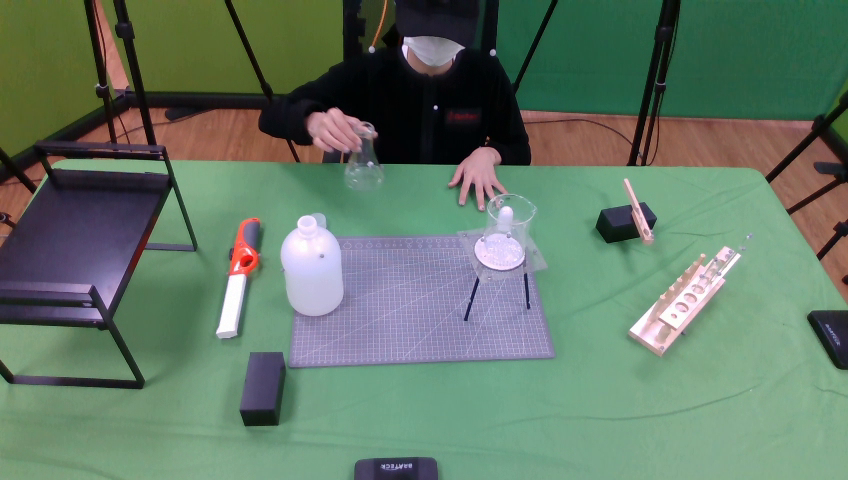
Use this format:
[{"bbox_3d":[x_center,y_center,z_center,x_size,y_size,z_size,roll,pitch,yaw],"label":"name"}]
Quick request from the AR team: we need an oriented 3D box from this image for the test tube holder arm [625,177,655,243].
[{"bbox_3d":[0.433,-0.063,1.220,0.013,0.015,0.177,1,47,-3],"label":"test tube holder arm"}]

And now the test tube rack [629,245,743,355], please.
[{"bbox_3d":[0.474,0.095,1.091,0.242,0.085,0.066,-34,56,-31],"label":"test tube rack"}]

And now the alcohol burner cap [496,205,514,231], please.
[{"bbox_3d":[0.153,-0.044,1.131,0.034,0.048,0.033,2,40,-1],"label":"alcohol burner cap"}]

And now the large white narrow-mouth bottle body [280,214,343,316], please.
[{"bbox_3d":[-0.190,0.035,1.024,0.102,0.195,0.101,2,46,-2],"label":"large white narrow-mouth bottle body"}]

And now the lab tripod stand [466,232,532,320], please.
[{"bbox_3d":[0.125,0.059,1.065,0.148,0.132,0.147,1,45,0],"label":"lab tripod stand"}]

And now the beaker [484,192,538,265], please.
[{"bbox_3d":[0.137,-0.016,0.980,0.084,0.101,0.073,-6,45,-9],"label":"beaker"}]

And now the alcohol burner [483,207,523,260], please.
[{"bbox_3d":[0.152,-0.018,1.156,0.078,0.120,0.077,0,47,0],"label":"alcohol burner"}]

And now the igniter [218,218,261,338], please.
[{"bbox_3d":[-0.336,0.060,1.111,0.057,0.025,0.274,-7,46,4],"label":"igniter"}]

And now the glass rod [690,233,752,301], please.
[{"bbox_3d":[0.507,0.053,1.041,0.008,0.200,0.008,5,50,-6],"label":"glass rod"}]

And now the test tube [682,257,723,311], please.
[{"bbox_3d":[0.475,0.080,1.037,0.017,0.151,0.017,1,51,-1],"label":"test tube"}]

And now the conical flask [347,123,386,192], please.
[{"bbox_3d":[-0.106,-0.154,1.115,0.075,0.122,0.075,3,44,-3],"label":"conical flask"}]

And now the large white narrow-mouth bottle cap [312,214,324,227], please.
[{"bbox_3d":[-0.220,-0.033,1.214,0.038,0.024,0.037,2,46,-2],"label":"large white narrow-mouth bottle cap"}]

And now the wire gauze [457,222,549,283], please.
[{"bbox_3d":[0.131,0.016,1.017,0.121,0.011,0.124,-10,44,-16],"label":"wire gauze"}]

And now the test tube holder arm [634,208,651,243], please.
[{"bbox_3d":[0.428,-0.030,1.189,0.010,0.015,0.087,1,47,-2],"label":"test tube holder arm"}]
